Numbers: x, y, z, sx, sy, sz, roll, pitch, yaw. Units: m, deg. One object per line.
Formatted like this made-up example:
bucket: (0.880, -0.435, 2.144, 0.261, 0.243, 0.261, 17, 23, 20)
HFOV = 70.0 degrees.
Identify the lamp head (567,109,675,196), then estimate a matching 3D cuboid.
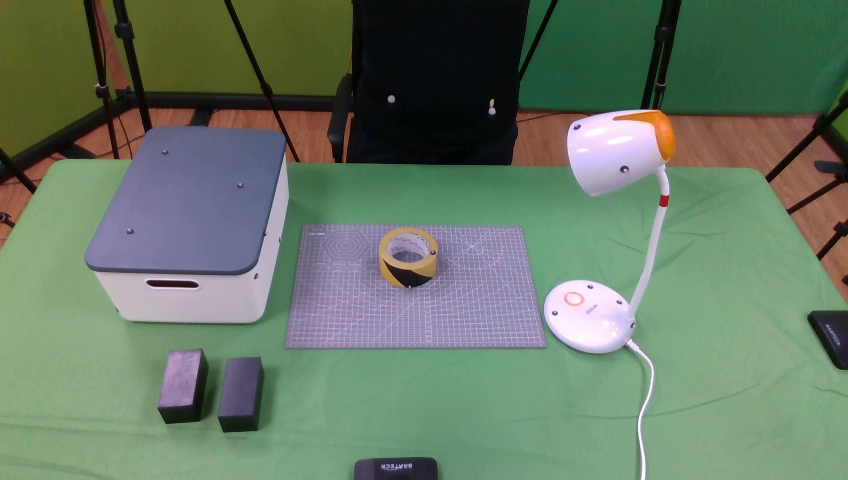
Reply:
lamp head: (0.272, -0.123, 0.818, 0.122, 0.113, 0.112, -9, 35, 37)

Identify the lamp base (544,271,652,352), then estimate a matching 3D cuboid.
lamp base: (0.310, 0.086, 1.029, 0.178, 0.181, 0.160, 32, 52, 21)

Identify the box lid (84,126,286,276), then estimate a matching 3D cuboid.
box lid: (-0.393, -0.081, 1.046, 0.263, 0.015, 0.369, 2, 46, -3)

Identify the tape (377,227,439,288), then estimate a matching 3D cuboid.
tape: (-0.031, 0.032, 1.140, 0.117, 0.053, 0.116, 2, 46, -2)

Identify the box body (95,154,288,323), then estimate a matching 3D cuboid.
box body: (-0.396, -0.031, 1.100, 0.254, 0.161, 0.361, 1, 46, -3)
